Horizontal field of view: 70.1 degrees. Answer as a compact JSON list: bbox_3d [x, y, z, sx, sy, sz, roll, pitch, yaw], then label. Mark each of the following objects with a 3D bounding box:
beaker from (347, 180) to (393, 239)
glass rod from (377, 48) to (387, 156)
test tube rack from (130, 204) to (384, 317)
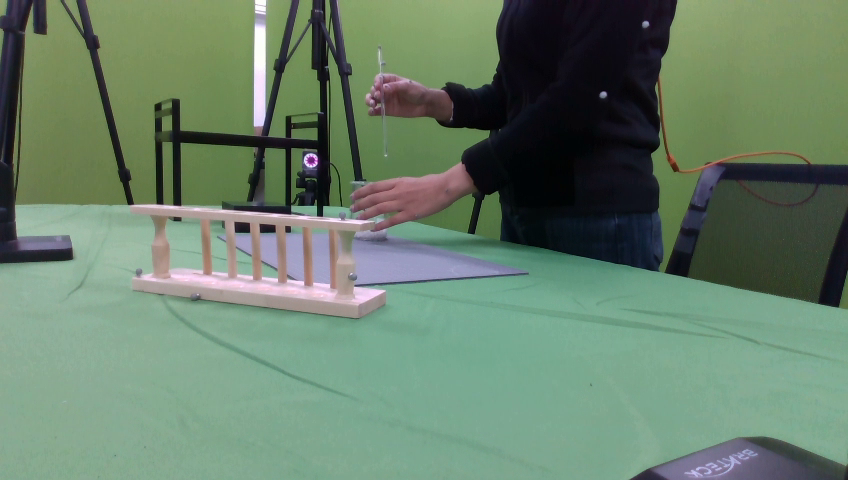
[{"bbox_3d":[-0.095,-0.054,1.064,0.084,0.100,0.074,6,9,21],"label":"beaker"},{"bbox_3d":[-0.075,-0.248,1.082,0.008,0.199,0.008,-4,-7,0],"label":"glass rod"},{"bbox_3d":[-0.163,0.013,0.589,0.242,0.085,0.067,4,8,17],"label":"test tube rack"}]
